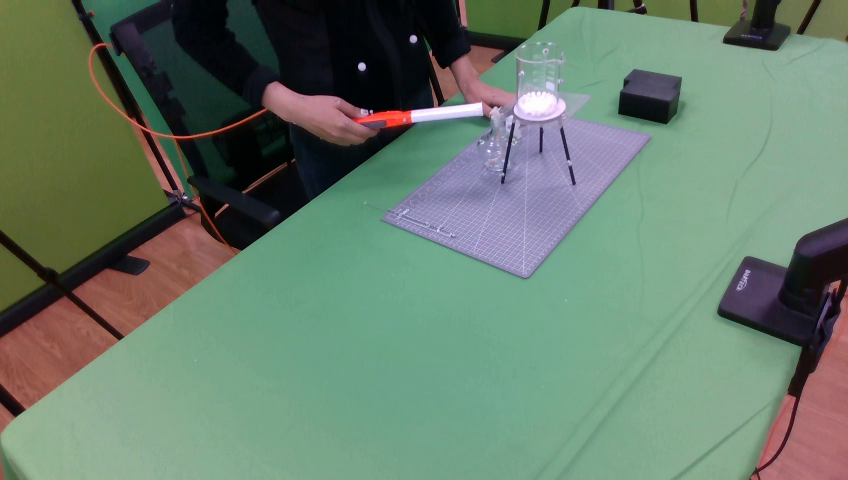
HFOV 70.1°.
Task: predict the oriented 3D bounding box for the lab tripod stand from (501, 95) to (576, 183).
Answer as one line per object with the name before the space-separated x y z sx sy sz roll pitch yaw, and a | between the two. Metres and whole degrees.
lab tripod stand | 0.204 -0.174 1.057 0.148 0.132 0.147 -4 40 4

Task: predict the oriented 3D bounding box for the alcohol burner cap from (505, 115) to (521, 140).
alcohol burner cap | 0.175 -0.224 1.193 0.034 0.048 0.033 -6 40 5

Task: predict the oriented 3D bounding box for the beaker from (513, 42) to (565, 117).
beaker | 0.187 -0.257 0.981 0.083 0.101 0.074 21 49 29

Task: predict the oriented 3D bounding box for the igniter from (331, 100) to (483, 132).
igniter | -0.034 -0.222 1.084 0.276 0.025 0.057 -6 30 7

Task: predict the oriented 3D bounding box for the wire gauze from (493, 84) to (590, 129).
wire gauze | 0.197 -0.223 1.013 0.120 0.011 0.125 21 47 28

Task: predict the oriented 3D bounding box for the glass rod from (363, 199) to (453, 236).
glass rod | -0.031 -0.041 1.041 0.198 0.008 0.008 22 50 31

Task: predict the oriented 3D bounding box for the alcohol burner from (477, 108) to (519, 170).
alcohol burner | 0.135 -0.188 1.102 0.078 0.119 0.077 -4 41 4
